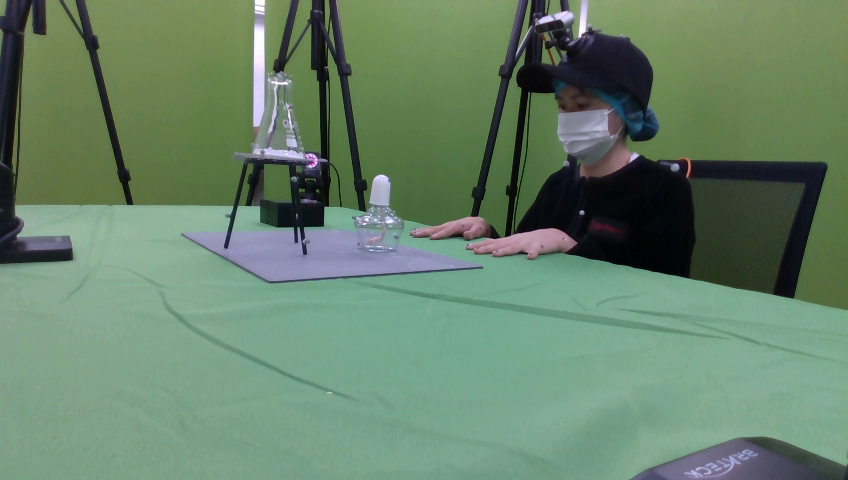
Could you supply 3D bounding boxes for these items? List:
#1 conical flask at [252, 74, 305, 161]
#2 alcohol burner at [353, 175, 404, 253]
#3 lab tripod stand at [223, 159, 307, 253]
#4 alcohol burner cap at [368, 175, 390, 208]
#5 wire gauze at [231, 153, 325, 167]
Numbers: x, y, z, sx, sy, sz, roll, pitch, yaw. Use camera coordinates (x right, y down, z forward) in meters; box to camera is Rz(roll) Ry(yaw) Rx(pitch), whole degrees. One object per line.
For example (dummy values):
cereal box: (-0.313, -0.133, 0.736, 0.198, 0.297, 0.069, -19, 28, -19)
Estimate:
conical flask: (-0.211, -0.177, 0.880, 0.075, 0.122, 0.075, 3, 6, 0)
alcohol burner: (-0.069, -0.040, 0.927, 0.078, 0.119, 0.078, 1, 9, 0)
lab tripod stand: (-0.220, -0.053, 0.896, 0.148, 0.131, 0.148, 1, 6, 0)
alcohol burner cap: (-0.067, -0.075, 0.923, 0.034, 0.048, 0.034, 8, 11, -1)
wire gauze: (-0.215, -0.117, 0.882, 0.125, 0.011, 0.121, 3, 7, -19)
